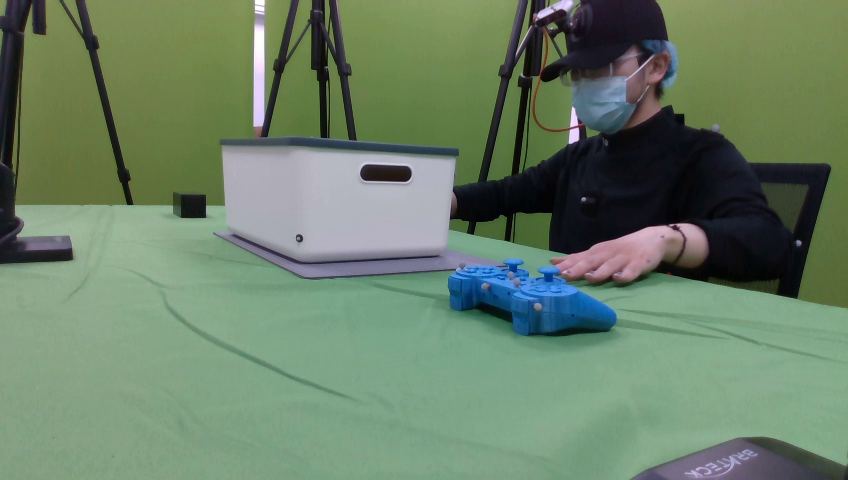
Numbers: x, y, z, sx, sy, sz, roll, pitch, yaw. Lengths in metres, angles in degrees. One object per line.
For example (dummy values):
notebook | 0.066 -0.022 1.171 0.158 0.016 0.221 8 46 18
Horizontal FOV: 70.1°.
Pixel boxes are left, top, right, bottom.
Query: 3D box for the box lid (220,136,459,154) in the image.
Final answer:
box lid | -0.144 -0.145 0.944 0.265 0.015 0.369 -2 9 -33

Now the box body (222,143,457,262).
box body | -0.148 -0.073 0.956 0.255 0.160 0.362 -3 9 -33

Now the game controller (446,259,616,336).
game controller | 0.091 0.048 0.562 0.097 0.051 0.154 -7 10 -32
